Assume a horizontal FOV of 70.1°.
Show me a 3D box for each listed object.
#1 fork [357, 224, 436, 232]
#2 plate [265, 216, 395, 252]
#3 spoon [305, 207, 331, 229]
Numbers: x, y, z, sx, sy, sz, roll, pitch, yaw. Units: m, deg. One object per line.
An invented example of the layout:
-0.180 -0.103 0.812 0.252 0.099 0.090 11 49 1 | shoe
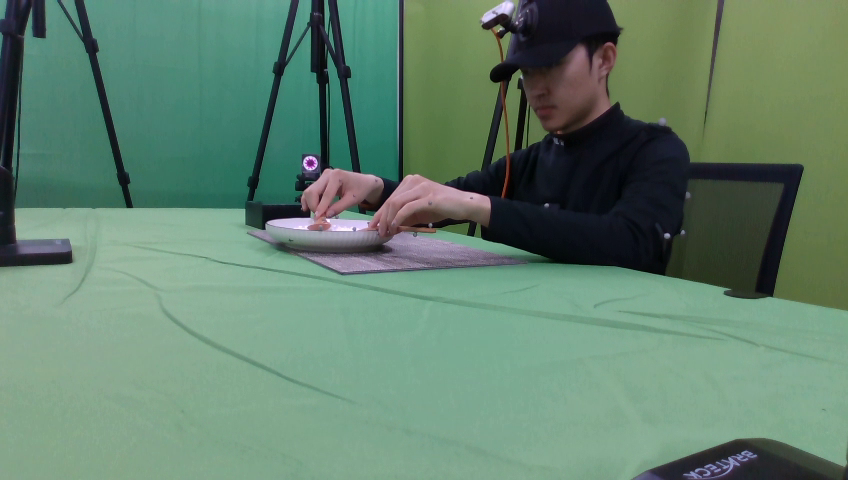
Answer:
-0.074 -0.014 0.913 0.206 0.018 0.028 -4 5 29 | fork
-0.150 -0.011 0.977 0.209 0.038 0.209 3 7 0 | plate
-0.179 -0.043 1.077 0.041 0.021 0.193 -3 15 -1 | spoon
